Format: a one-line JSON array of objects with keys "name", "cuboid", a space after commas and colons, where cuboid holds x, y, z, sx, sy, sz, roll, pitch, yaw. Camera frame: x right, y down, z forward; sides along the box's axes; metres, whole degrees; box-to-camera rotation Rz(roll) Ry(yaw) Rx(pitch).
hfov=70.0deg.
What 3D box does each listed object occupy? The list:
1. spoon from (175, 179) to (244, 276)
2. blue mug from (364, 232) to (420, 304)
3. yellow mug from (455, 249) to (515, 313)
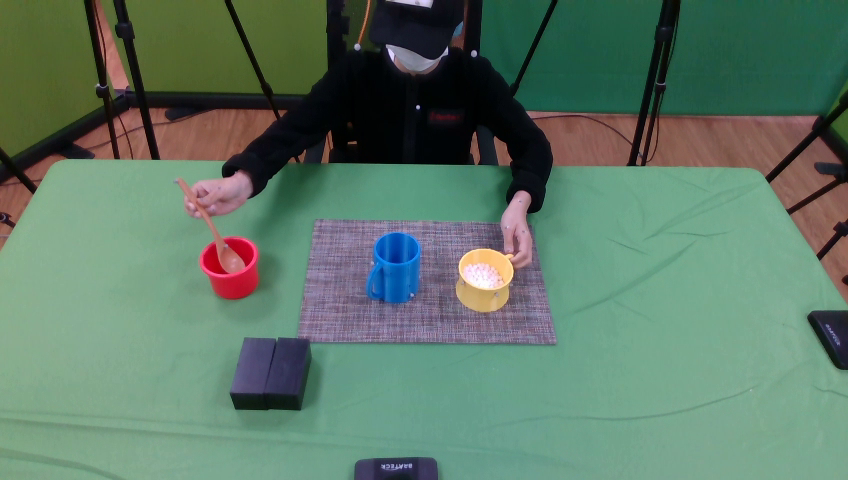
[{"name": "spoon", "cuboid": [-0.368, -0.021, 1.042, 0.021, 0.194, 0.041, -15, 17, 36]}, {"name": "blue mug", "cuboid": [-0.062, 0.059, 1.073, 0.082, 0.106, 0.116, 35, 53, 27]}, {"name": "yellow mug", "cuboid": [0.120, 0.066, 1.108, 0.131, 0.064, 0.099, -31, 55, -31]}]
